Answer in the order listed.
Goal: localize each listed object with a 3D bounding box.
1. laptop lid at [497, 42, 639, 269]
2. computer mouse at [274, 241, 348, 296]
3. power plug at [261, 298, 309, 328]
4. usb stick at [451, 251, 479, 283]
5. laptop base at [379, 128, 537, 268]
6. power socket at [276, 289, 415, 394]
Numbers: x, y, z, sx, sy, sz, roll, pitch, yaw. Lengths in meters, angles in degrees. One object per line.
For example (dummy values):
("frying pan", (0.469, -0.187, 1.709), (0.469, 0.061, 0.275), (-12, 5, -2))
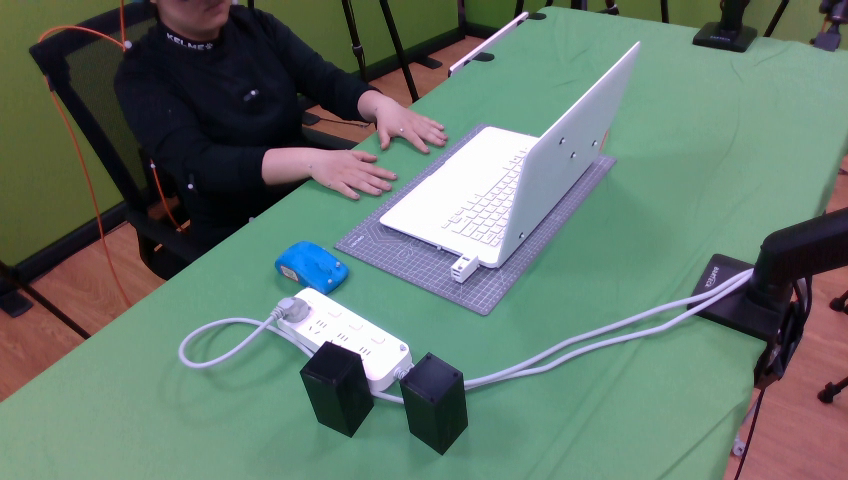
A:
("laptop lid", (0.221, -0.130, 0.913), (0.013, 0.242, 0.357), (31, 51, 21))
("computer mouse", (-0.176, 0.040, 0.936), (0.116, 0.041, 0.063), (27, 48, 27))
("power plug", (-0.193, 0.107, 0.831), (0.073, 0.053, 0.035), (-31, 43, -25))
("usb stick", (0.065, 0.036, 0.899), (0.021, 0.027, 0.059), (22, 45, 32))
("laptop base", (0.118, -0.088, 1.058), (0.233, 0.023, 0.355), (19, 47, 32))
("power socket", (-0.114, 0.133, 0.821), (0.225, 0.033, 0.072), (25, 49, 33))
